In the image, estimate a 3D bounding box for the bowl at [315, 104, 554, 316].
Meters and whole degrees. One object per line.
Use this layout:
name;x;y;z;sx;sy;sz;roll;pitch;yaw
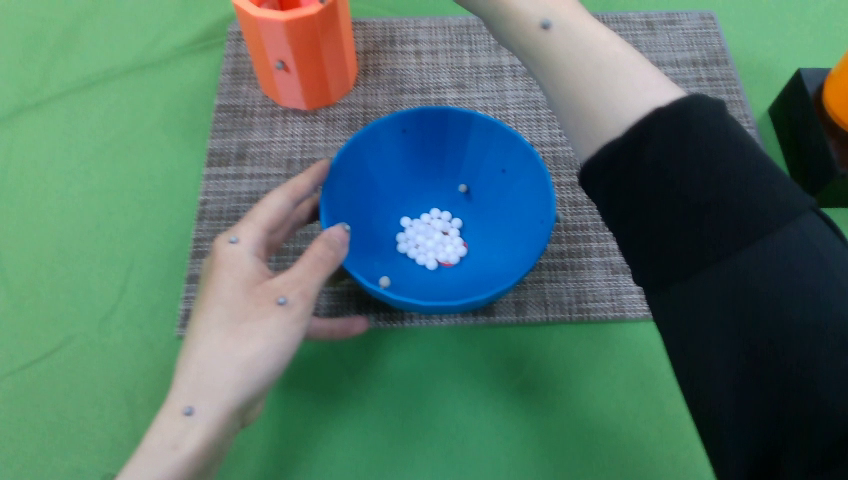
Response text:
bowl;0.007;-0.009;0.413;0.151;0.077;0.150;0;62;-1

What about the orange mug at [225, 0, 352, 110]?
orange mug;-0.103;-0.185;0.493;0.083;0.101;0.125;9;67;4
